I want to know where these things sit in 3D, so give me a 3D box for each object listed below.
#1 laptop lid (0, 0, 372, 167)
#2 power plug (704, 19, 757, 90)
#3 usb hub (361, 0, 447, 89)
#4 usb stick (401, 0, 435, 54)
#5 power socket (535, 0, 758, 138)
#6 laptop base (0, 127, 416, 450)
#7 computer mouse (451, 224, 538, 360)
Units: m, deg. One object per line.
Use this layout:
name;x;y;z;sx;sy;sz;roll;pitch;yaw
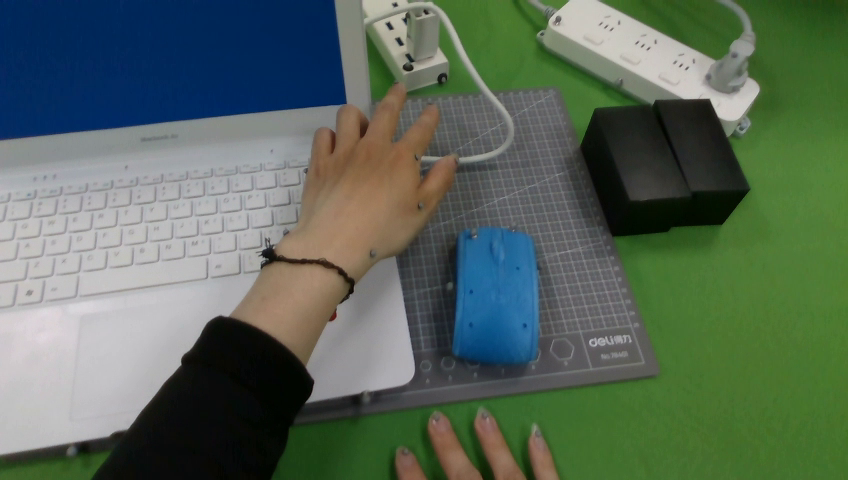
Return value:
laptop lid;-0.221;-0.159;0.437;0.357;0.244;0.013;-9;45;-6
power plug;0.296;-0.166;0.572;0.072;0.053;0.035;-36;64;-20
usb hub;-0.026;-0.206;0.611;0.049;0.025;0.124;-21;61;-15
usb stick;-0.006;-0.195;0.566;0.027;0.059;0.021;-31;72;-14
power socket;0.219;-0.176;0.601;0.225;0.033;0.072;36;62;19
laptop base;-0.198;0.025;0.461;0.355;0.023;0.233;-8;62;-8
computer mouse;0.053;0.033;0.454;0.063;0.041;0.116;4;53;2
